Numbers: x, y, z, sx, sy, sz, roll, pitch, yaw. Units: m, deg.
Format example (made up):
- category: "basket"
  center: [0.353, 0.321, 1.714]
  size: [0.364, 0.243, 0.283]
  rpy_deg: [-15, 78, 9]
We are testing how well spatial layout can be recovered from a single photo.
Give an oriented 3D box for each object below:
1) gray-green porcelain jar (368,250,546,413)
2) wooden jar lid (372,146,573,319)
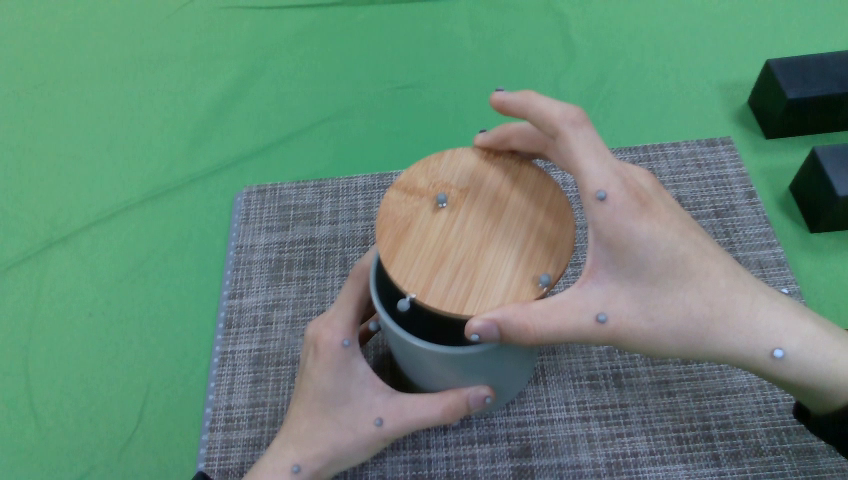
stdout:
- category: "gray-green porcelain jar"
  center: [0.025, 0.051, 0.404]
  size: [0.106, 0.127, 0.105]
  rpy_deg: [-3, 56, 4]
- category: "wooden jar lid"
  center: [0.026, -0.004, 0.334]
  size: [0.108, 0.021, 0.107]
  rpy_deg: [-1, 61, 1]
